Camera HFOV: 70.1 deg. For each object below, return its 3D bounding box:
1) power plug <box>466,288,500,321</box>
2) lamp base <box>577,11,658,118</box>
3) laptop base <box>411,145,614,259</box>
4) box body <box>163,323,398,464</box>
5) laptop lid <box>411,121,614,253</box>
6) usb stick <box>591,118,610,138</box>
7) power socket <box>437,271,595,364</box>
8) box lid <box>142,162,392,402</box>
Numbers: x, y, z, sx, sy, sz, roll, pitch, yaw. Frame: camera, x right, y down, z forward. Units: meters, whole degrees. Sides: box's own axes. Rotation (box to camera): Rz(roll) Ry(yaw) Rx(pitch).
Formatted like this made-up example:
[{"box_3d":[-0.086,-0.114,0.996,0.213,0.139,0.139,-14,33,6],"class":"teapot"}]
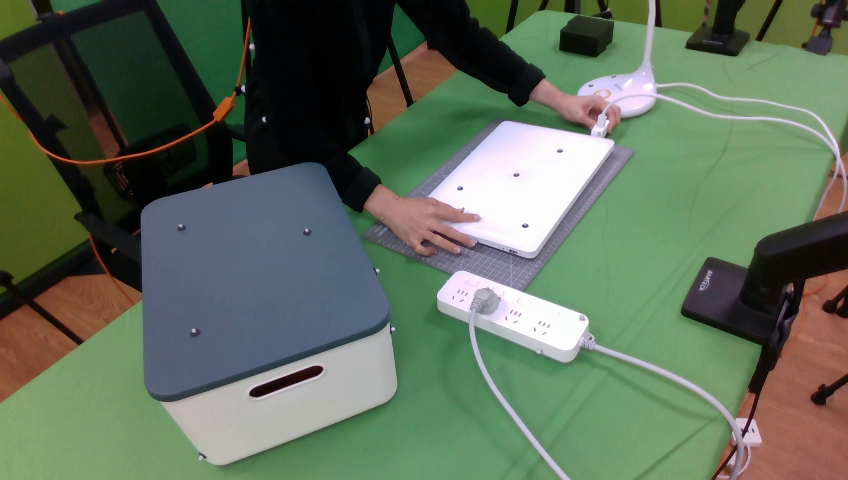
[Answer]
[{"box_3d":[0.072,0.093,0.813,0.035,0.053,0.073,30,54,35],"class":"power plug"},{"box_3d":[0.406,-0.363,1.223,0.180,0.181,0.159,-20,42,-18],"class":"lamp base"},{"box_3d":[0.167,-0.102,1.075,0.234,0.023,0.355,17,46,30],"class":"laptop base"},{"box_3d":[-0.205,0.080,0.802,0.255,0.161,0.361,-18,41,-13],"class":"box body"},{"box_3d":[0.164,-0.112,1.069,0.240,0.013,0.357,18,46,31],"class":"laptop lid"},{"box_3d":[0.333,-0.205,1.151,0.021,0.027,0.059,22,53,21],"class":"usb stick"},{"box_3d":[0.118,0.102,0.830,0.225,0.033,0.072,20,48,28],"class":"power socket"},{"box_3d":[-0.212,0.024,0.752,0.264,0.015,0.368,-17,41,-13],"class":"box lid"}]
